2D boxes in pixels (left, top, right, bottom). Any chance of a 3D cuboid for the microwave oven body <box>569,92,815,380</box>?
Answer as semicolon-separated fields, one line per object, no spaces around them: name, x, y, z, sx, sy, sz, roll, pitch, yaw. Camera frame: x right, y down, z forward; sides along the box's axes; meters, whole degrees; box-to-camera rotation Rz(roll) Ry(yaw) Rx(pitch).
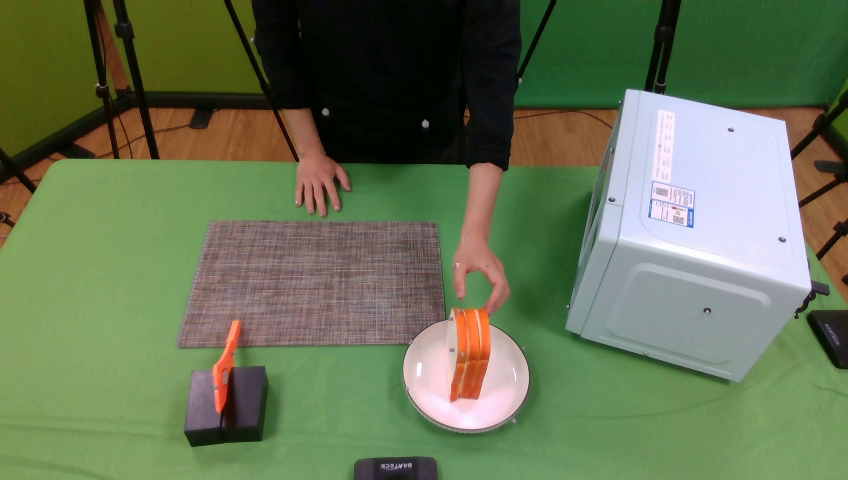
microwave oven body;0.468;-0.022;1.082;0.325;0.261;0.440;15;46;11

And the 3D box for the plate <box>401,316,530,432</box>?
plate;0.066;0.217;0.982;0.208;0.039;0.206;2;46;-2

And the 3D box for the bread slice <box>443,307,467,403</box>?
bread slice;0.048;0.171;0.948;0.018;0.135;0.106;0;42;-7

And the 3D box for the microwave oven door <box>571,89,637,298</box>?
microwave oven door;0.343;-0.091;1.133;0.039;0.245;0.354;15;47;10

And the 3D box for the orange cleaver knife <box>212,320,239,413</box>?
orange cleaver knife;-0.306;0.190;0.944;0.012;0.077;0.210;-5;17;-7

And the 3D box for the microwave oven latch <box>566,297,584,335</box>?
microwave oven latch;0.268;0.126;1.059;0.030;0.029;0.079;16;46;12
